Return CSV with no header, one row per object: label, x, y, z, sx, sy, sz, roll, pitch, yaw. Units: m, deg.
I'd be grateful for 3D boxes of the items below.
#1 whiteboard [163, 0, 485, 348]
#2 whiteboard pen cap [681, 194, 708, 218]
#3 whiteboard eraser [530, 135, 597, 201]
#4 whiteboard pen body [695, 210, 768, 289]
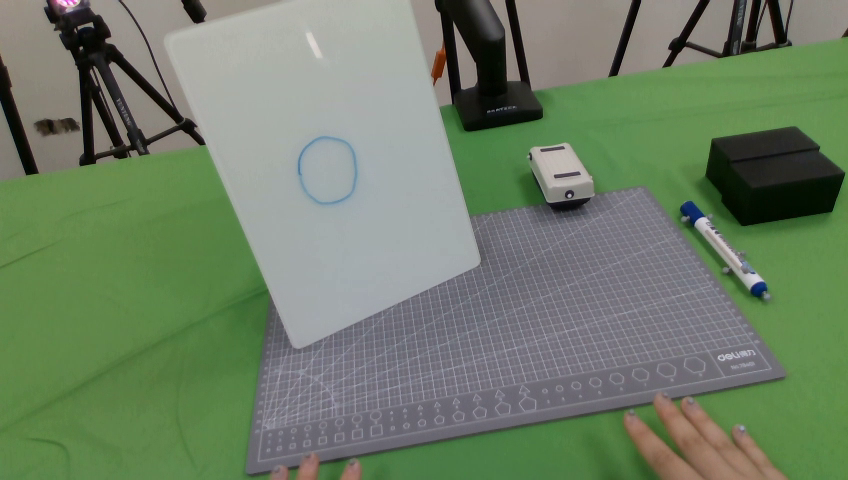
whiteboard,-0.096,-0.088,0.622,0.217,0.307,0.142,-24,22,-17
whiteboard pen cap,0.297,-0.036,0.664,0.018,0.018,0.033,-11,37,-2
whiteboard eraser,0.166,-0.088,0.735,0.055,0.042,0.111,-10,35,2
whiteboard pen body,0.306,0.000,0.620,0.017,0.017,0.139,-11,38,-2
